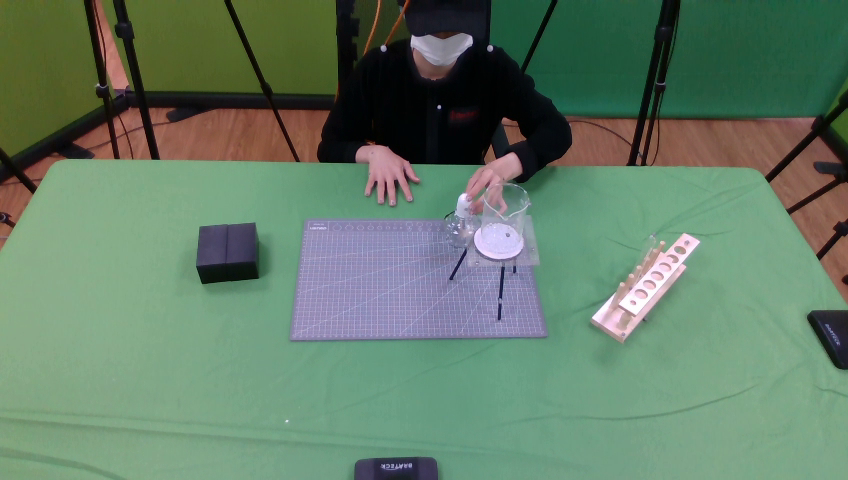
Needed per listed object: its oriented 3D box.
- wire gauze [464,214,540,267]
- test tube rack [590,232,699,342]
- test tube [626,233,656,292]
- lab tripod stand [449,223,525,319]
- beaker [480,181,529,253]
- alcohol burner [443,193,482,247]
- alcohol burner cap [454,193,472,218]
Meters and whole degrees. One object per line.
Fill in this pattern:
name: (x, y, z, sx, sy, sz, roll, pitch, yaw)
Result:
wire gauze: (0.131, -0.001, 1.035, 0.121, 0.011, 0.124, 1, 44, -3)
test tube rack: (0.407, 0.074, 1.112, 0.066, 0.085, 0.242, 35, 53, 26)
test tube: (0.384, 0.042, 1.079, 0.017, 0.151, 0.017, 1, 47, -1)
lab tripod stand: (0.120, 0.046, 1.080, 0.148, 0.132, 0.147, 1, 47, -1)
beaker: (0.130, -0.033, 0.998, 0.074, 0.101, 0.083, 5, 47, 4)
alcohol burner: (0.075, -0.044, 1.177, 0.078, 0.120, 0.077, 1, 44, -1)
alcohol burner cap: (0.075, -0.068, 1.151, 0.034, 0.048, 0.033, 2, 48, -2)
